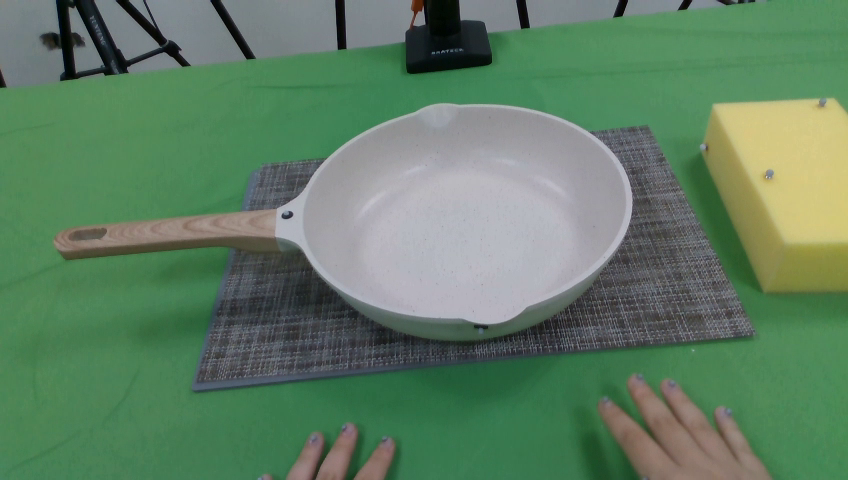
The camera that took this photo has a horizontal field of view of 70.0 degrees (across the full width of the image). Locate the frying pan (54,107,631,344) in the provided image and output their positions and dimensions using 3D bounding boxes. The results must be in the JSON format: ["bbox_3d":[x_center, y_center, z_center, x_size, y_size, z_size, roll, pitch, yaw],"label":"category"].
[{"bbox_3d":[-0.069,-0.013,0.544,0.489,0.103,0.303,-3,41,-6],"label":"frying pan"}]

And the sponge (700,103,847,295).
[{"bbox_3d":[0.345,-0.045,0.553,0.118,0.061,0.205,-2,42,6],"label":"sponge"}]
